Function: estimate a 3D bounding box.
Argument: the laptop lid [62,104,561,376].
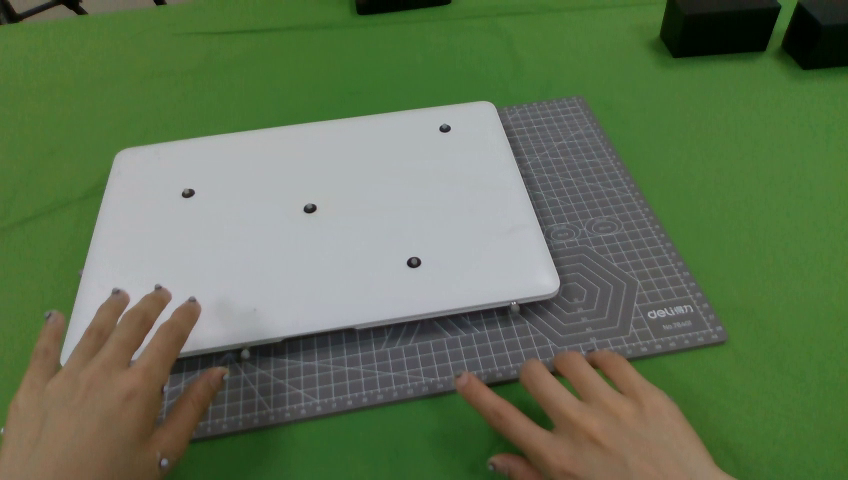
[{"bbox_3d":[-0.090,-0.019,0.492,0.357,0.013,0.239,-7,49,-2],"label":"laptop lid"}]

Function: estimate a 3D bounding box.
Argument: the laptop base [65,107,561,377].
[{"bbox_3d":[-0.090,-0.013,0.502,0.355,0.023,0.233,-9,50,-4],"label":"laptop base"}]
